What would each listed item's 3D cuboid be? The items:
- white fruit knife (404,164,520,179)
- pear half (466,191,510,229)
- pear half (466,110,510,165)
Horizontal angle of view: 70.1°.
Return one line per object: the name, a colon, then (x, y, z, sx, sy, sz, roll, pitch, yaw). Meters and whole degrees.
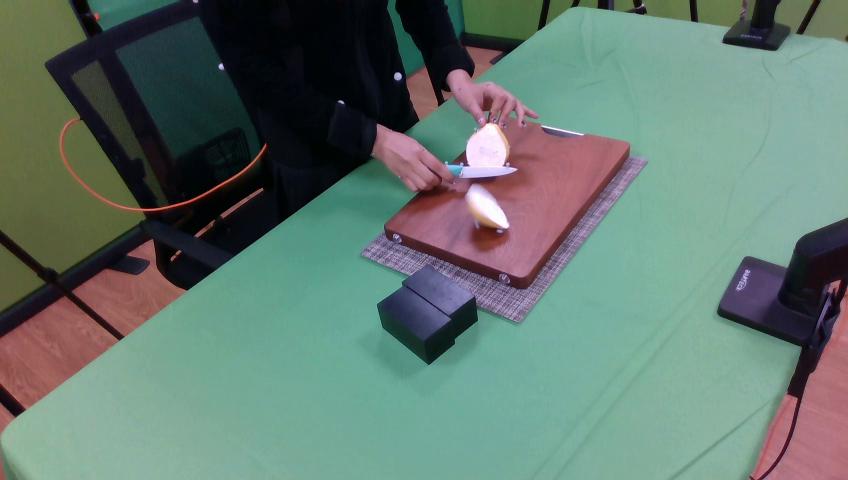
white fruit knife: (0.061, -0.119, 1.036, 0.206, 0.027, 0.016, -1, 40, 17)
pear half: (0.097, -0.041, 0.954, 0.071, 0.031, 0.087, -15, 57, -47)
pear half: (0.115, -0.174, 1.054, 0.076, 0.110, 0.056, 12, 27, 12)
